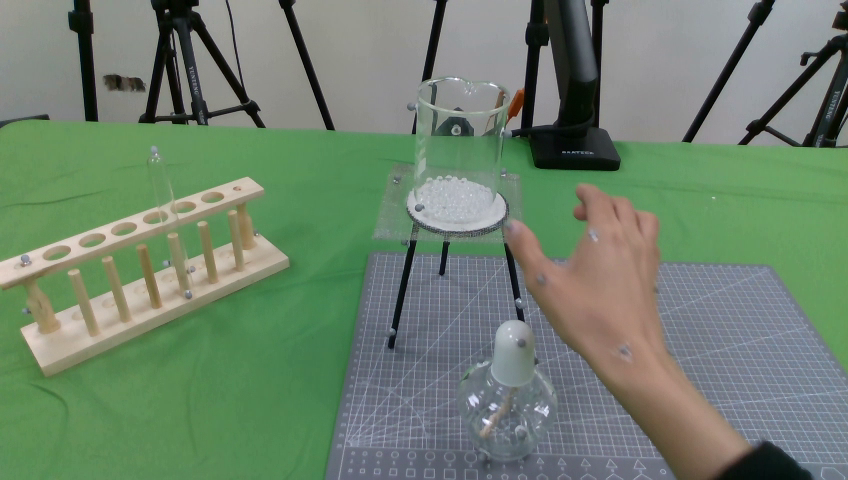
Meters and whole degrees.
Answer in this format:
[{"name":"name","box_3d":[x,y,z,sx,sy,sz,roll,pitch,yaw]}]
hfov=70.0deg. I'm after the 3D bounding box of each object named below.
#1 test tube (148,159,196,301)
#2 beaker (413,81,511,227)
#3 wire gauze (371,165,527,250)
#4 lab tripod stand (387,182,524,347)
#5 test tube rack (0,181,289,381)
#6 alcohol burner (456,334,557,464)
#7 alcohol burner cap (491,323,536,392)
[{"name":"test tube","box_3d":[-0.232,-0.005,0.558,0.017,0.151,0.017,2,34,-1]},{"name":"beaker","box_3d":[0.028,-0.069,0.490,0.074,0.101,0.083,9,35,7]},{"name":"wire gauze","box_3d":[0.024,-0.028,0.516,0.121,0.011,0.124,4,37,2]},{"name":"lab tripod stand","box_3d":[0.031,0.025,0.556,0.148,0.132,0.147,3,34,-1]},{"name":"test tube rack","box_3d":[-0.257,0.029,0.585,0.242,0.086,0.066,-26,43,-34]},{"name":"alcohol burner","box_3d":[0.063,0.111,0.451,0.078,0.120,0.077,2,37,-1]},{"name":"alcohol burner cap","box_3d":[0.065,0.081,0.431,0.034,0.048,0.033,-2,34,2]}]
